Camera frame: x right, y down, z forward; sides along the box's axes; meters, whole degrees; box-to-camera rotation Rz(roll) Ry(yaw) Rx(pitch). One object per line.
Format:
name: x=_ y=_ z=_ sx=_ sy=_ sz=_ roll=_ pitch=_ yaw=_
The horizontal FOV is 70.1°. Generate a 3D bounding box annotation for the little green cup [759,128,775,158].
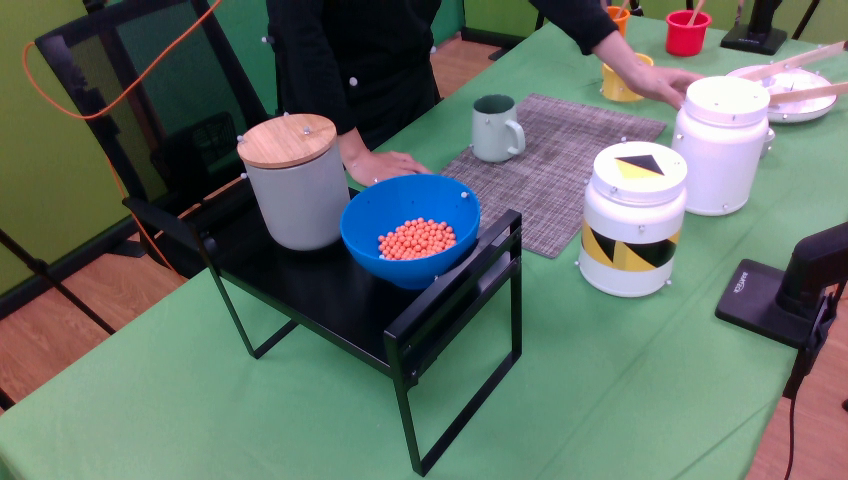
little green cup: x=0.588 y=-0.175 z=1.080 sx=0.061 sy=0.039 sz=0.061 roll=-5 pitch=40 yaw=5

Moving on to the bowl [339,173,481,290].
bowl: x=-0.011 y=0.001 z=0.660 sx=0.151 sy=0.077 sz=0.150 roll=-5 pitch=41 yaw=5

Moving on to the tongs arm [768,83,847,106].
tongs arm: x=0.734 y=-0.280 z=1.133 sx=0.388 sy=0.028 sz=0.028 roll=-9 pitch=47 yaw=-5

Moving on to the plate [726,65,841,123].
plate: x=0.694 y=-0.283 z=1.189 sx=0.207 sy=0.039 sz=0.206 roll=-4 pitch=40 yaw=4

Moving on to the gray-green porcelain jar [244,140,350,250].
gray-green porcelain jar: x=-0.144 y=-0.060 z=0.714 sx=0.106 sy=0.127 sz=0.105 roll=-4 pitch=41 yaw=4

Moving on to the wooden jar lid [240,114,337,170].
wooden jar lid: x=-0.149 y=-0.106 z=0.674 sx=0.108 sy=0.021 sz=0.108 roll=-6 pitch=38 yaw=5

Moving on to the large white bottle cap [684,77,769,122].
large white bottle cap: x=0.448 y=-0.209 z=0.898 sx=0.115 sy=0.018 sz=0.114 roll=-4 pitch=40 yaw=4

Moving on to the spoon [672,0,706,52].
spoon: x=0.629 y=-0.520 z=1.394 sx=0.041 sy=0.022 sz=0.193 roll=29 pitch=97 yaw=34

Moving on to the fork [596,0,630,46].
fork: x=0.481 y=-0.556 z=1.452 sx=0.028 sy=0.019 sz=0.207 roll=40 pitch=103 yaw=37

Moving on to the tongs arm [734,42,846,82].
tongs arm: x=0.708 y=-0.331 z=1.193 sx=0.386 sy=0.026 sz=0.050 roll=-18 pitch=45 yaw=-15

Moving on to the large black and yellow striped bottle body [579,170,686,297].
large black and yellow striped bottle body: x=0.287 y=-0.027 z=0.841 sx=0.131 sy=0.185 sz=0.130 roll=-4 pitch=41 yaw=4

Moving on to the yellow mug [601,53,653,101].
yellow mug: x=0.423 y=-0.354 z=1.292 sx=0.100 sy=0.064 sz=0.129 roll=-23 pitch=41 yaw=-16

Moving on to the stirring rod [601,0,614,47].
stirring rod: x=0.439 y=-0.552 z=1.463 sx=0.014 sy=0.006 sz=0.175 roll=-7 pitch=83 yaw=2

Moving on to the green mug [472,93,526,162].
green mug: x=0.144 y=-0.202 z=1.122 sx=0.093 sy=0.105 sz=0.124 roll=-29 pitch=45 yaw=-23

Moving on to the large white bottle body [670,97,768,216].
large white bottle body: x=0.458 y=-0.146 z=0.952 sx=0.130 sy=0.185 sz=0.130 roll=-4 pitch=40 yaw=4

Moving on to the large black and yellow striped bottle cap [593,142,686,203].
large black and yellow striped bottle cap: x=0.280 y=-0.090 z=0.786 sx=0.115 sy=0.019 sz=0.114 roll=-5 pitch=41 yaw=5
